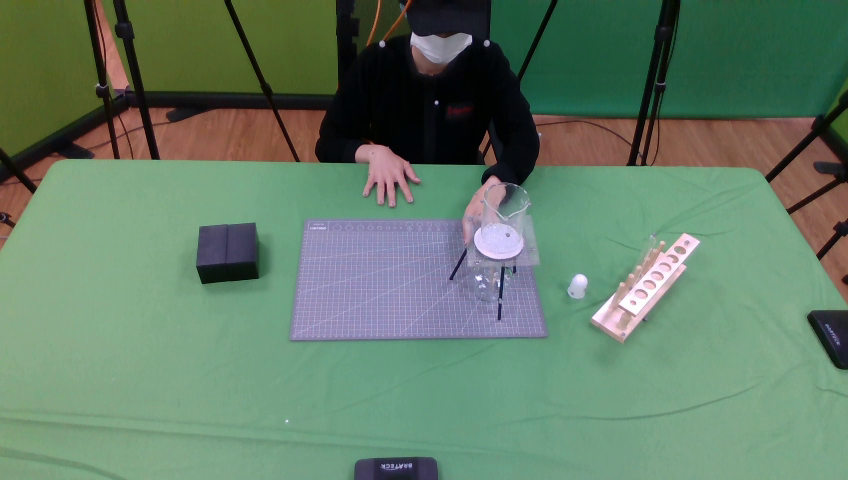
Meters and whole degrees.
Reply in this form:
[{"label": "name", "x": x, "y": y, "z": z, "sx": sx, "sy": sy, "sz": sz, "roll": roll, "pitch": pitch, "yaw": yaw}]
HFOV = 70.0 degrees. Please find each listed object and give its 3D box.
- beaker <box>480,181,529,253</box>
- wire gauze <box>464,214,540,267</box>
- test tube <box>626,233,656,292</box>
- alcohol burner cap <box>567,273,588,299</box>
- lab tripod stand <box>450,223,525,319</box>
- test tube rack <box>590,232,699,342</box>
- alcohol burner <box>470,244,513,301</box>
[{"label": "beaker", "x": 0.130, "y": -0.033, "z": 0.998, "sx": 0.074, "sy": 0.101, "sz": 0.083, "roll": 5, "pitch": 47, "yaw": 4}, {"label": "wire gauze", "x": 0.131, "y": -0.001, "z": 1.035, "sx": 0.121, "sy": 0.011, "sz": 0.124, "roll": 1, "pitch": 44, "yaw": -2}, {"label": "test tube", "x": 0.384, "y": 0.042, "z": 1.079, "sx": 0.017, "sy": 0.151, "sz": 0.017, "roll": 1, "pitch": 47, "yaw": -1}, {"label": "alcohol burner cap", "x": 0.287, "y": 0.083, "z": 1.125, "sx": 0.034, "sy": 0.048, "sz": 0.033, "roll": 2, "pitch": 45, "yaw": -1}, {"label": "lab tripod stand", "x": 0.120, "y": 0.046, "z": 1.080, "sx": 0.148, "sy": 0.132, "sz": 0.147, "roll": 1, "pitch": 47, "yaw": -1}, {"label": "test tube rack", "x": 0.407, "y": 0.074, "z": 1.112, "sx": 0.066, "sy": 0.085, "sz": 0.242, "roll": 35, "pitch": 53, "yaw": 26}, {"label": "alcohol burner", "x": 0.122, "y": 0.054, "z": 1.087, "sx": 0.078, "sy": 0.120, "sz": 0.077, "roll": 1, "pitch": 45, "yaw": -1}]
